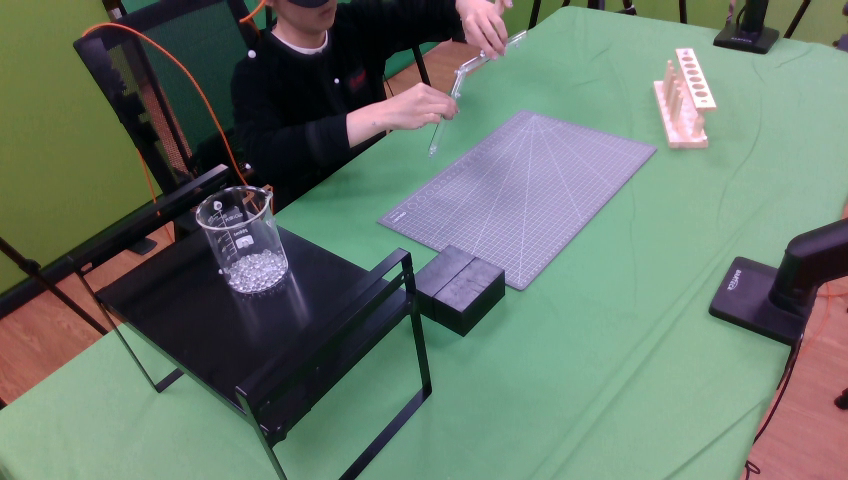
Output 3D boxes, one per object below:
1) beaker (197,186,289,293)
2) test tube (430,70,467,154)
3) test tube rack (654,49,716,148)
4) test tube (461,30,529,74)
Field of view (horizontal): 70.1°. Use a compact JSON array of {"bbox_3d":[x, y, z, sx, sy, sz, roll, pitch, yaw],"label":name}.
[{"bbox_3d":[-0.192,0.001,0.666,0.084,0.101,0.073,-33,47,-27],"label":"beaker"},{"bbox_3d":[0.041,-0.219,1.044,0.017,0.150,0.017,19,18,-6],"label":"test tube"},{"bbox_3d":[0.502,-0.281,1.176,0.066,0.085,0.241,1,41,11],"label":"test tube rack"},{"bbox_3d":[0.124,-0.326,1.043,0.151,0.017,0.017,-34,47,-19],"label":"test tube"}]
